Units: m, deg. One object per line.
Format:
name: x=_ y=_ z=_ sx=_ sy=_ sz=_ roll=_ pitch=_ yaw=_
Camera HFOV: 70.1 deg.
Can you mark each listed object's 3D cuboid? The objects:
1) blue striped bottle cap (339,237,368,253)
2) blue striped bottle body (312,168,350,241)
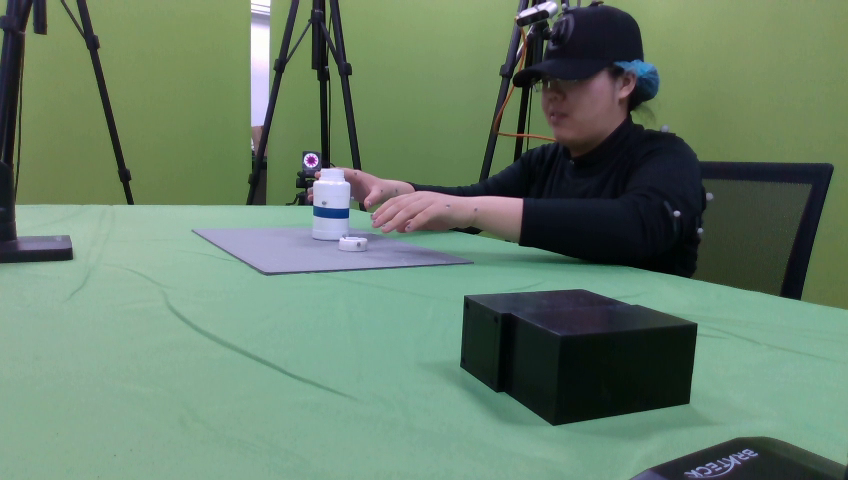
blue striped bottle cap: x=-0.107 y=0.007 z=0.920 sx=0.044 sy=0.020 sz=0.044 roll=1 pitch=7 yaw=0
blue striped bottle body: x=-0.157 y=-0.062 z=1.025 sx=0.063 sy=0.120 sz=0.063 roll=3 pitch=7 yaw=0
